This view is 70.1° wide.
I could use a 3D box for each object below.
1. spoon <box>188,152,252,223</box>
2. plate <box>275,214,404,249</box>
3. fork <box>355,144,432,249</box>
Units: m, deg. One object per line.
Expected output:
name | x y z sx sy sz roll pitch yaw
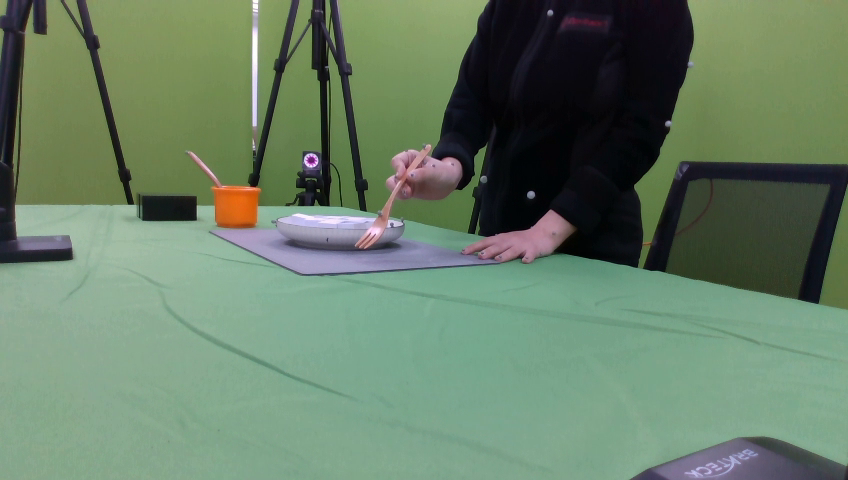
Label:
spoon | -0.400 -0.103 1.178 0.021 0.193 0.042 -43 -11 28
plate | -0.135 -0.013 0.982 0.208 0.039 0.207 3 7 0
fork | -0.039 -0.066 0.866 0.028 0.207 0.019 12 -30 34
